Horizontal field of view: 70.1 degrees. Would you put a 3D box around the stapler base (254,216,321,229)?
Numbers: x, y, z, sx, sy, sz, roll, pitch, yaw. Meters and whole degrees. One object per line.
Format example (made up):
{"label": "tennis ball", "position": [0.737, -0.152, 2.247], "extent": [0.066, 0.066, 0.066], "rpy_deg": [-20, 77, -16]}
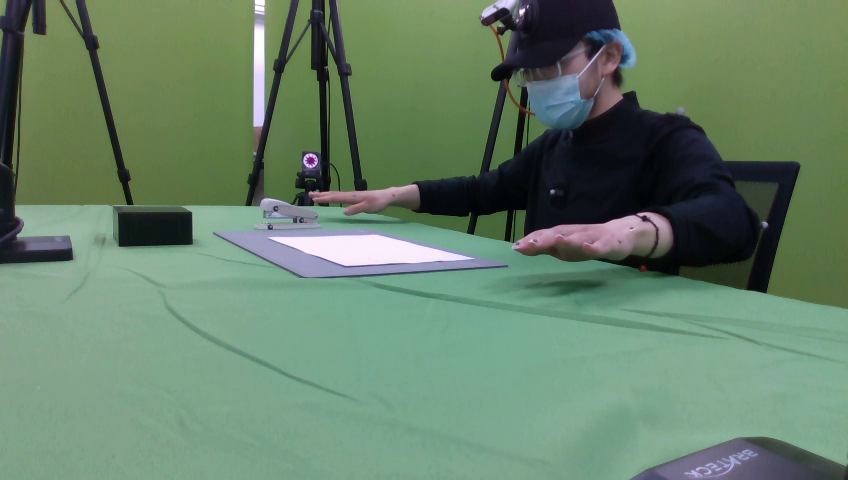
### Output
{"label": "stapler base", "position": [-0.269, -0.036, 1.197], "extent": [0.131, 0.024, 0.041], "rpy_deg": [-1, 11, -40]}

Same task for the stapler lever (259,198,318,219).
{"label": "stapler lever", "position": [-0.267, -0.061, 1.195], "extent": [0.119, 0.040, 0.026], "rpy_deg": [-1, 11, -40]}
